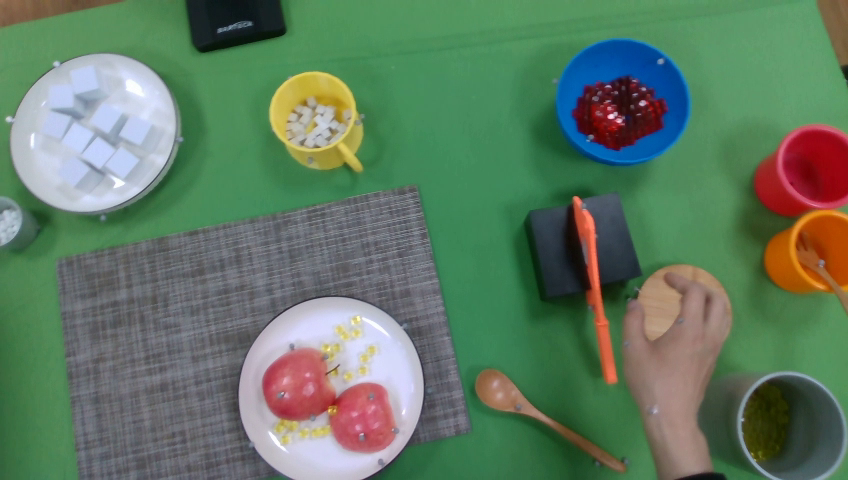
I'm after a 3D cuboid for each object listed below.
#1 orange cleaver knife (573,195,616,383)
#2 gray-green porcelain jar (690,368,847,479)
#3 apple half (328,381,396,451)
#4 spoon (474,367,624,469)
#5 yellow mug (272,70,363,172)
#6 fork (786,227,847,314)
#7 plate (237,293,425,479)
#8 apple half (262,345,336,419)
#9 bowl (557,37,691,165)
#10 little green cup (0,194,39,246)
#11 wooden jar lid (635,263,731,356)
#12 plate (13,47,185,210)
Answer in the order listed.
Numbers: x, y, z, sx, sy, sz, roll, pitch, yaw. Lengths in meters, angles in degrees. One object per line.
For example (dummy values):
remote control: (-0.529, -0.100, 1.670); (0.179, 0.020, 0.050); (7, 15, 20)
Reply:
orange cleaver knife: (0.189, 0.055, 0.680); (0.012, 0.077, 0.212); (-11, 103, 0)
gray-green porcelain jar: (0.347, 0.187, 0.630); (0.106, 0.127, 0.105); (0, 79, 1)
apple half: (-0.071, 0.197, 0.672); (0.081, 0.033, 0.081); (0, 76, 2)
spoon: (0.141, 0.205, 0.683); (0.193, 0.022, 0.041); (30, 63, 6)
yellow mug: (-0.116, -0.133, 0.730); (0.100, 0.064, 0.130); (-40, 82, -6)
fork: (0.433, 0.051, 0.641); (0.028, 0.019, 0.205); (4, 36, 2)
plate: (-0.103, 0.165, 0.685); (0.209, 0.038, 0.208); (0, 80, 1)
apple half: (-0.142, 0.158, 0.671); (0.074, 0.053, 0.080); (-15, 80, 1)
bowl: (0.227, -0.152, 0.719); (0.151, 0.077, 0.151); (0, 80, 2)
little green cup: (-0.501, -0.021, 0.730); (0.061, 0.039, 0.061); (0, 80, 0)
wooden jar lid: (0.299, 0.081, 0.705); (0.108, 0.021, 0.108); (-1, 80, 3)
plate: (-0.395, -0.135, 0.750); (0.207, 0.039, 0.207); (0, 80, 1)
